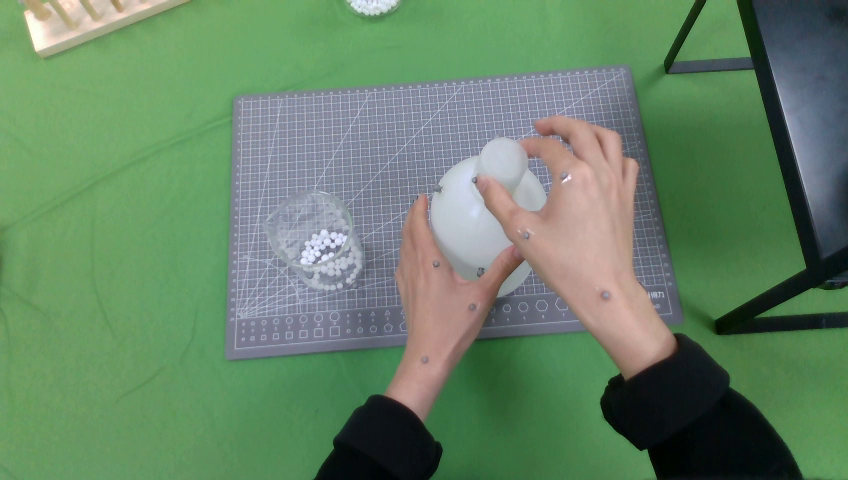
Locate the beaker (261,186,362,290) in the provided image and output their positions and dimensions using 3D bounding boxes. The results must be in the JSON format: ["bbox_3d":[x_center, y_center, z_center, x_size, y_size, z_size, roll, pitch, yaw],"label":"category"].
[{"bbox_3d":[-0.102,0.003,0.578,0.084,0.101,0.073,6,70,5],"label":"beaker"}]

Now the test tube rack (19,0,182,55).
[{"bbox_3d":[-0.362,-0.310,0.701,0.242,0.086,0.066,-25,72,-7],"label":"test tube rack"}]

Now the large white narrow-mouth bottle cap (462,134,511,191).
[{"bbox_3d":[0.045,-0.054,0.434,0.038,0.024,0.037,-1,72,4],"label":"large white narrow-mouth bottle cap"}]

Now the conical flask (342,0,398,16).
[{"bbox_3d":[-0.066,-0.318,0.676,0.075,0.122,0.075,-1,70,2],"label":"conical flask"}]

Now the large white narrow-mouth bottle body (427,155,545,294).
[{"bbox_3d":[0.054,-0.020,0.532,0.102,0.196,0.101,-1,71,4],"label":"large white narrow-mouth bottle body"}]
